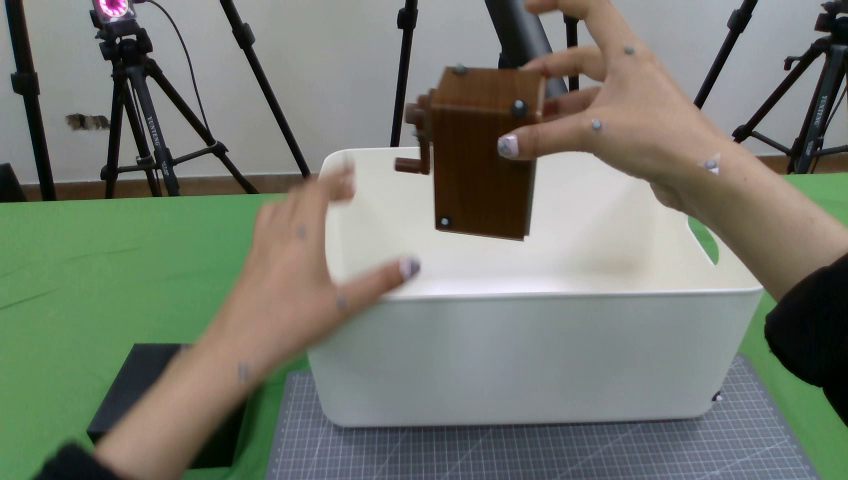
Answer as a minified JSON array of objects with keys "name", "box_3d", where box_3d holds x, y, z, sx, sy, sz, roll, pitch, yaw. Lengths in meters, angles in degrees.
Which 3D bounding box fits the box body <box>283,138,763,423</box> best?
[{"name":"box body","box_3d":[0.076,0.031,0.583,0.364,0.162,0.251,-2,35,0]}]

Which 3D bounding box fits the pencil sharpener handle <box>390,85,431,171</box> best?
[{"name":"pencil sharpener handle","box_3d":[-0.011,-0.077,0.427,0.030,0.068,0.035,6,44,10]}]

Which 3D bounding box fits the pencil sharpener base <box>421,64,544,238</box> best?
[{"name":"pencil sharpener base","box_3d":[0.040,-0.062,0.426,0.076,0.108,0.061,6,40,9]}]
